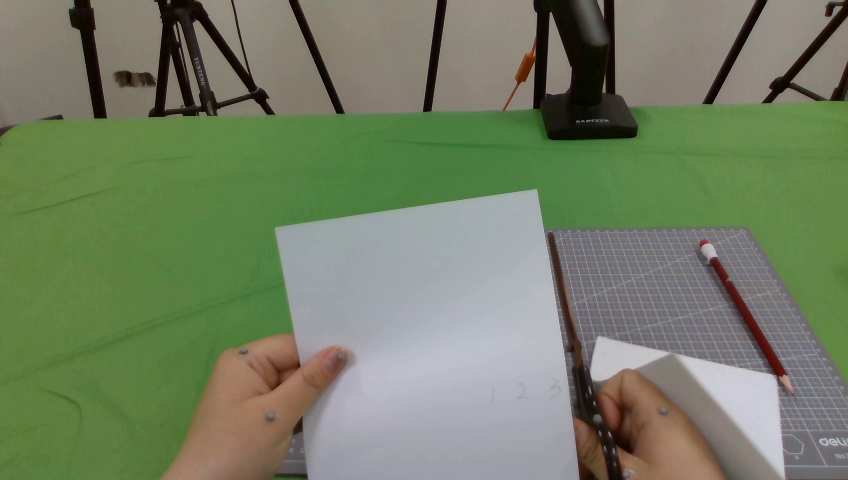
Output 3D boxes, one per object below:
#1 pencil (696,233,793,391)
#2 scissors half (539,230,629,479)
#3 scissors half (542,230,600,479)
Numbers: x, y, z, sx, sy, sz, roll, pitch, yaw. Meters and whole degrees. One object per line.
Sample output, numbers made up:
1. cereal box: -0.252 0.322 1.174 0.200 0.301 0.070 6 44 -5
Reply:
1. pencil: 0.285 0.057 0.546 0.012 0.012 0.192 -3 40 0
2. scissors half: 0.096 0.074 0.372 0.013 0.040 0.174 -14 71 0
3. scissors half: 0.096 0.079 0.391 0.013 0.175 0.040 -12 -2 -6
